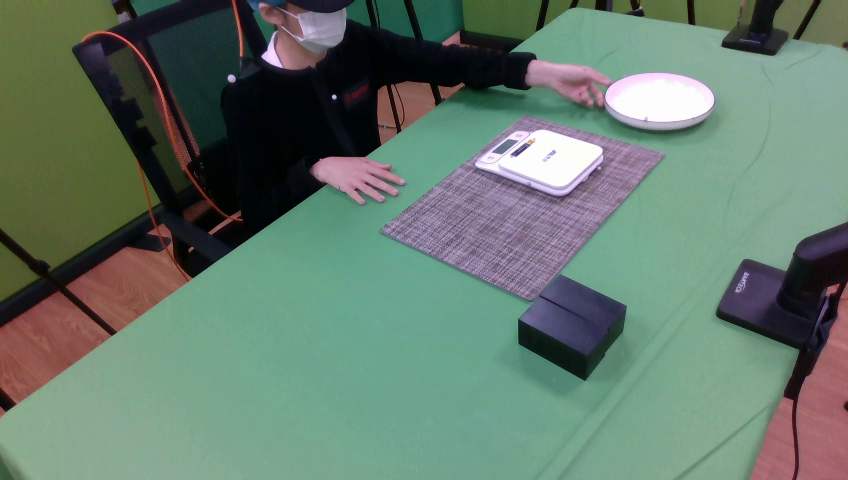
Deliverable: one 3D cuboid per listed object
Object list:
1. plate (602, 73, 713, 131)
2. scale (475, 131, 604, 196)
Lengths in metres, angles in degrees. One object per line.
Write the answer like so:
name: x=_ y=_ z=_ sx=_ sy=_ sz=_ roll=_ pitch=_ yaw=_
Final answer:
plate: x=0.463 y=-0.271 z=1.210 sx=0.207 sy=0.039 sz=0.206 roll=-4 pitch=40 yaw=4
scale: x=0.209 y=-0.148 z=1.105 sx=0.199 sy=0.032 sz=0.149 roll=26 pitch=50 yaw=34
